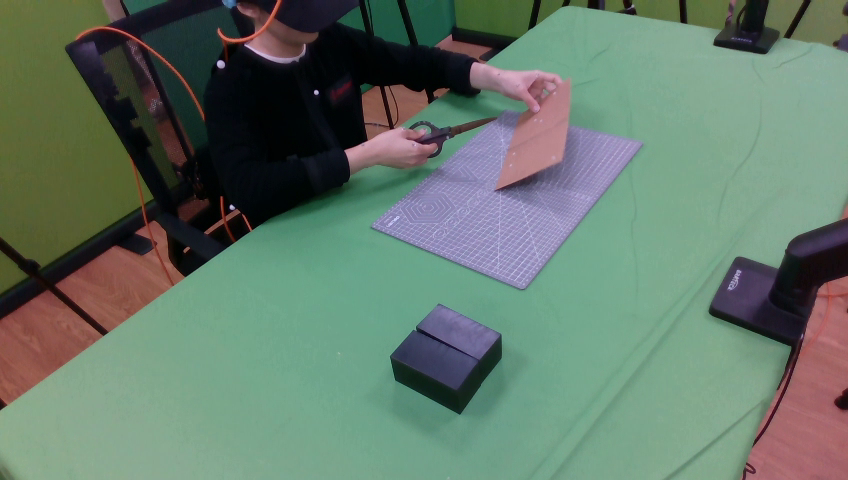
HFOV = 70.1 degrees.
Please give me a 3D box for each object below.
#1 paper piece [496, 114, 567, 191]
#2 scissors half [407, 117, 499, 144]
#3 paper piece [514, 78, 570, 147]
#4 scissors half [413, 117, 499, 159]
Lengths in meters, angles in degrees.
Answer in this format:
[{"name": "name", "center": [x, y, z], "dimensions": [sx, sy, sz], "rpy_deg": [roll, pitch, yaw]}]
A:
[{"name": "paper piece", "center": [0.193, -0.154, 1.078], "dimensions": [0.135, 0.009, 0.138], "rpy_deg": [-29, 27, 39]}, {"name": "scissors half", "center": [0.051, -0.206, 1.104], "dimensions": [0.174, 0.040, 0.013], "rpy_deg": [-7, 29, 16]}, {"name": "paper piece", "center": [0.227, -0.242, 1.172], "dimensions": [0.135, 0.004, 0.135], "rpy_deg": [-34, 27, 40]}, {"name": "scissors half", "center": [0.058, -0.190, 1.113], "dimensions": [0.174, 0.040, 0.013], "rpy_deg": [-21, 30, 24]}]
